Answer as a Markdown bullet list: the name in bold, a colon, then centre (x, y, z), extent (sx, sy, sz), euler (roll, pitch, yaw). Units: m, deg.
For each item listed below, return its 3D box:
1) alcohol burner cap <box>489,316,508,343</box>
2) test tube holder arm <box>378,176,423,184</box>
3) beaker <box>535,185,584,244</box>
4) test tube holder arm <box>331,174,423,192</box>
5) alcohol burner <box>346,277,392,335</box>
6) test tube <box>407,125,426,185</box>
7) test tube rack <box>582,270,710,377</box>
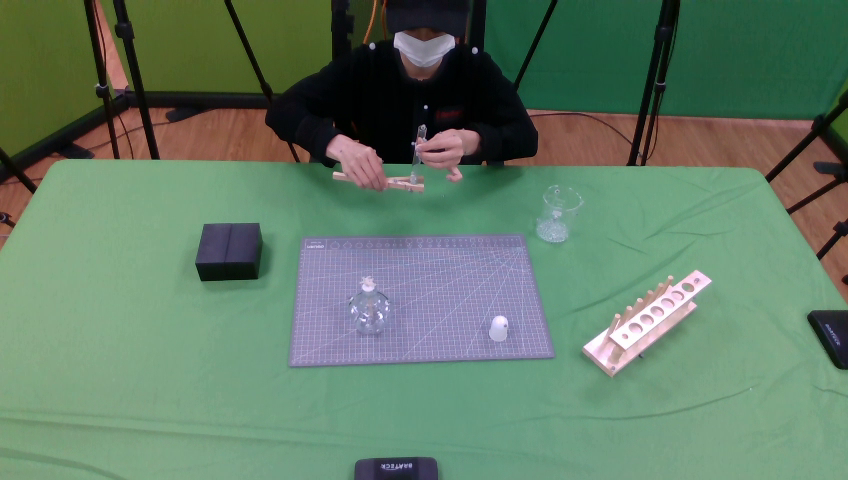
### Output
- **alcohol burner cap**: centre (0.130, 0.151, 1.045), extent (0.034, 0.048, 0.033), euler (2, 46, -2)
- **test tube holder arm**: centre (-0.046, -0.113, 1.179), extent (0.088, 0.015, 0.010), euler (-6, 45, -12)
- **beaker**: centre (0.268, -0.048, 1.213), extent (0.084, 0.101, 0.073), euler (6, 46, 0)
- **test tube holder arm**: centre (-0.090, -0.111, 1.172), extent (0.178, 0.015, 0.013), euler (6, 42, 1)
- **alcohol burner**: centre (-0.093, 0.106, 1.021), extent (0.078, 0.120, 0.077), euler (1, 46, -1)
- **test tube**: centre (-0.015, -0.150, 1.134), extent (0.017, 0.151, 0.017), euler (6, 46, -7)
- **test tube rack**: centre (0.389, 0.132, 1.057), extent (0.242, 0.085, 0.066), euler (-28, 53, -28)
